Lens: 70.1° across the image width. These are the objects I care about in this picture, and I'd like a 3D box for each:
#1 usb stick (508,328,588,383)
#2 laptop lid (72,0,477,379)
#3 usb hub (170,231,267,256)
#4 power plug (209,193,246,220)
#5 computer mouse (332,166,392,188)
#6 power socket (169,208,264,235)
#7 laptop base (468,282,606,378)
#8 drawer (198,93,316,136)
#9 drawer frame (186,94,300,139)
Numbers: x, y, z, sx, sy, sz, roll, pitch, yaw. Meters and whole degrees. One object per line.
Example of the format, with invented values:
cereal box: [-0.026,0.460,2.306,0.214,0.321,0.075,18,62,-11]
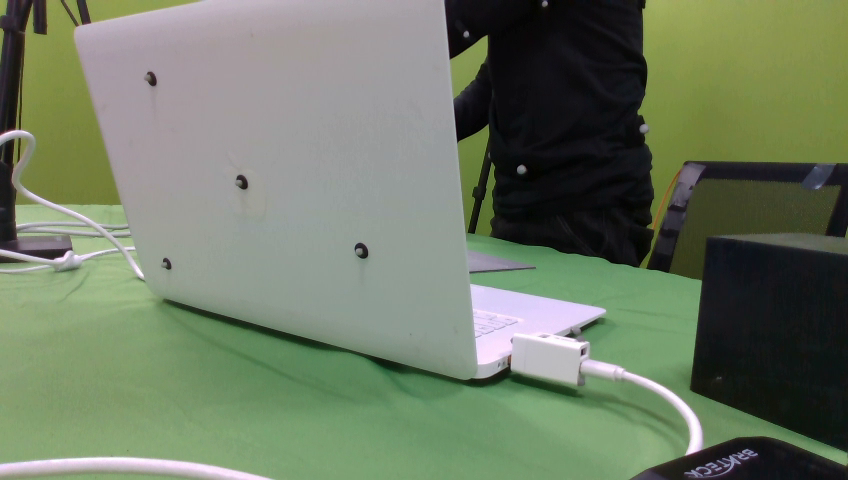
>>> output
usb stick: [0.072,0.071,0.383,0.059,0.027,0.021,2,2,34]
laptop lid: [-0.125,-0.042,0.417,0.355,0.241,0.013,9,25,34]
usb hub: [-0.290,0.004,0.862,0.049,0.025,0.126,11,11,42]
power plug: [-0.388,-0.067,1.205,0.072,0.052,0.035,4,8,27]
computer mouse: [-0.118,-0.119,1.151,0.062,0.041,0.118,5,12,38]
power socket: [-0.381,-0.038,1.128,0.072,0.032,0.227,4,8,16]
laptop base: [-0.042,0.058,0.554,0.352,0.023,0.237,7,7,35]
drawer: [-0.362,-0.262,1.295,0.195,0.073,0.210,-3,9,-33]
drawer frame: [-0.414,-0.276,1.373,0.203,0.082,0.212,-3,8,-33]
